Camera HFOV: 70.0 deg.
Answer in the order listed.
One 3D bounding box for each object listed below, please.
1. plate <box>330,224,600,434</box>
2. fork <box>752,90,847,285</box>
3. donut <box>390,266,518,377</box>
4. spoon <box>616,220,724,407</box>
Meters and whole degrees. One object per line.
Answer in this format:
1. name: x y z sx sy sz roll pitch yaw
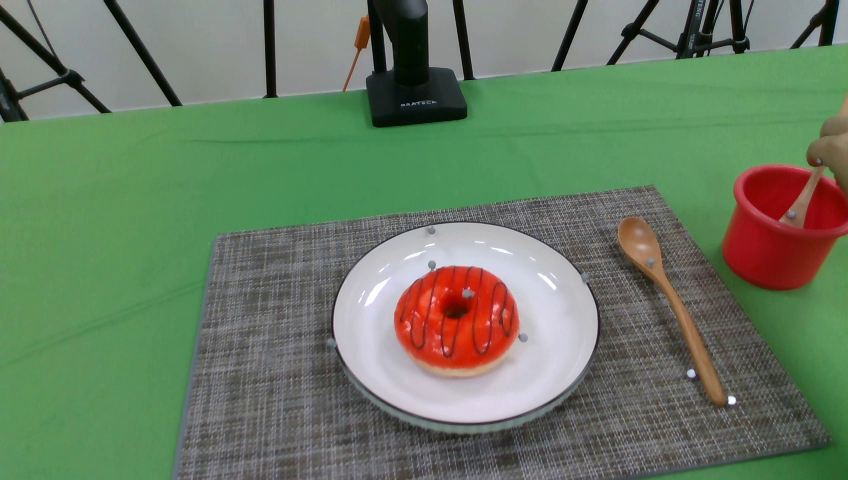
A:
1. plate: 0.032 0.066 0.483 0.209 0.038 0.207 -1 42 1
2. fork: 0.342 -0.055 0.532 0.028 0.019 0.207 26 92 28
3. donut: 0.023 0.062 0.471 0.099 0.049 0.098 -2 45 2
4. spoon: 0.203 0.052 0.505 0.042 0.022 0.191 9 40 -15
